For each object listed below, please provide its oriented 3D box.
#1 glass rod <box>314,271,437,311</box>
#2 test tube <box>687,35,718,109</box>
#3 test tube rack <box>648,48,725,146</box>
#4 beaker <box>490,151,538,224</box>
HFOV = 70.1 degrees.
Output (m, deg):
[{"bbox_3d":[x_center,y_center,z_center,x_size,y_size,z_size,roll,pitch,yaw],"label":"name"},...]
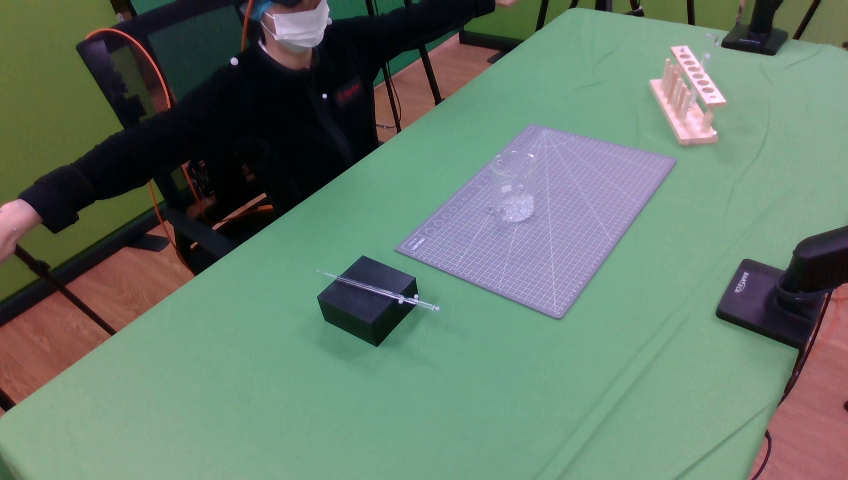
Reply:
[{"bbox_3d":[-0.072,0.068,0.837,0.198,0.008,0.008,14,44,24],"label":"glass rod"},{"bbox_3d":[0.521,-0.313,1.137,0.017,0.151,0.017,0,44,0],"label":"test tube"},{"bbox_3d":[0.508,-0.285,1.186,0.067,0.085,0.241,-4,40,6],"label":"test tube rack"},{"bbox_3d":[0.151,-0.084,0.988,0.084,0.101,0.073,-24,43,-20],"label":"beaker"}]
